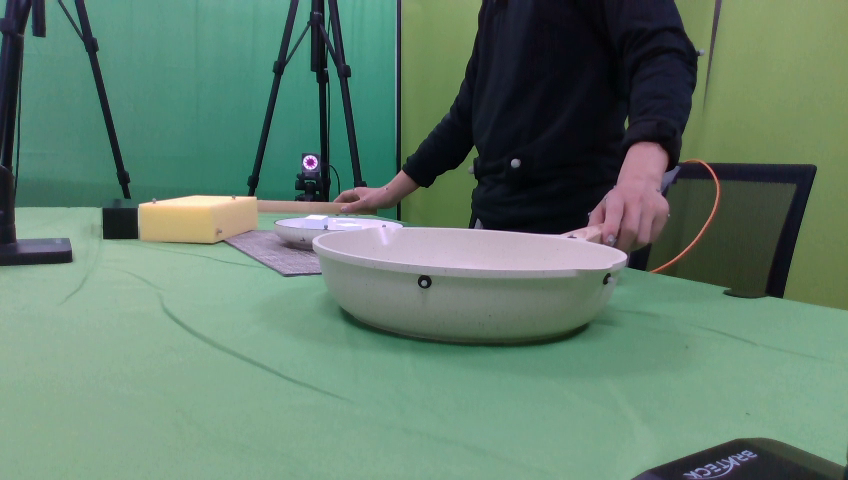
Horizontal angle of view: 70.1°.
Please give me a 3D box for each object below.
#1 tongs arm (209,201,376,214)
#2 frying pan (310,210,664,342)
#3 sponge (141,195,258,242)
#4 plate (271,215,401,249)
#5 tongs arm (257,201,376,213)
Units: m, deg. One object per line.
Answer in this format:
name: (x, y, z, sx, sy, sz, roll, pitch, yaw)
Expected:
tongs arm: (-0.307, -0.077, 1.432, 0.386, 0.026, 0.050, 0, 0, -15)
frying pan: (0.120, 0.011, 0.643, 0.490, 0.102, 0.305, -14, 16, -37)
sponge: (-0.380, -0.040, 1.047, 0.118, 0.061, 0.207, 1, 8, 3)
plate: (-0.141, -0.012, 0.978, 0.208, 0.039, 0.207, 2, 7, 0)
tongs arm: (-0.284, -0.074, 1.360, 0.389, 0.027, 0.028, -1, -3, -26)
